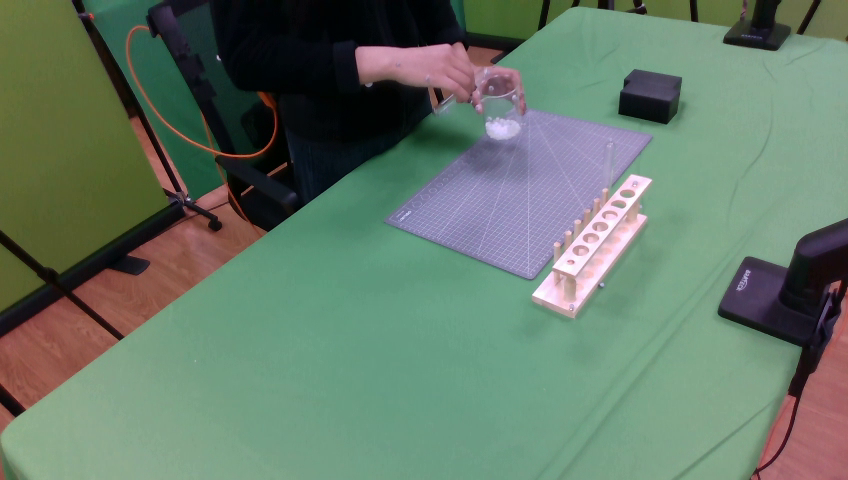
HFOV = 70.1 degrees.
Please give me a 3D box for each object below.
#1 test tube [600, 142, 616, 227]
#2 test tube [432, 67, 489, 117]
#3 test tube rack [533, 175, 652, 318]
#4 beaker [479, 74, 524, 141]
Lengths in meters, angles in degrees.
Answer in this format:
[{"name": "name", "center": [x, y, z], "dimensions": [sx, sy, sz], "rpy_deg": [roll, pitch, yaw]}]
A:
[{"name": "test tube", "center": [0.275, -0.081, 0.908], "dimensions": [0.017, 0.151, 0.017], "rpy_deg": [-5, 40, 5]}, {"name": "test tube", "center": [0.061, -0.246, 1.001], "dimensions": [0.017, 0.017, 0.151], "rpy_deg": [22, 53, 32]}, {"name": "test tube rack", "center": [0.250, -0.001, 0.889], "dimensions": [0.066, 0.085, 0.243], "rpy_deg": [22, 49, 33]}, {"name": "beaker", "center": [0.140, -0.235, 1.096], "dimensions": [0.084, 0.101, 0.073], "rpy_deg": [-35, 46, -19]}]
